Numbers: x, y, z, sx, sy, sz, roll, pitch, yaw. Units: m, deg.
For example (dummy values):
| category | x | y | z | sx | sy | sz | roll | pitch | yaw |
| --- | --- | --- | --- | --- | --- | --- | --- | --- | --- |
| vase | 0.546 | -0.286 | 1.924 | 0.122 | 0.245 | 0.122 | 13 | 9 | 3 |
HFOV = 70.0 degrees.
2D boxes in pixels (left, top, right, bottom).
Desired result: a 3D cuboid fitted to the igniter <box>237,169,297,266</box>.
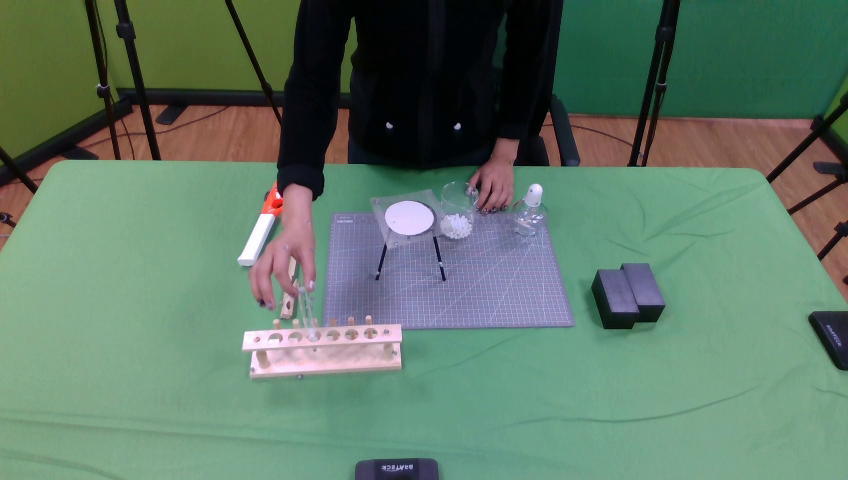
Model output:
| category | x | y | z | sx | sy | sz | roll | pitch | yaw |
| --- | --- | --- | --- | --- | --- | --- | --- | --- | --- |
| igniter | -0.313 | -0.054 | 1.224 | 0.057 | 0.025 | 0.275 | 1 | 45 | 10 |

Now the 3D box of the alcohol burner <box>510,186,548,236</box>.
| category | x | y | z | sx | sy | sz | roll | pitch | yaw |
| --- | --- | --- | --- | --- | --- | --- | --- | --- | --- |
| alcohol burner | 0.214 | -0.066 | 1.213 | 0.078 | 0.119 | 0.077 | 2 | 48 | -3 |

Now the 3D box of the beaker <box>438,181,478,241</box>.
| category | x | y | z | sx | sy | sz | roll | pitch | yaw |
| --- | --- | --- | --- | --- | --- | --- | --- | --- | --- |
| beaker | 0.066 | -0.053 | 1.200 | 0.074 | 0.101 | 0.083 | -17 | 50 | -19 |

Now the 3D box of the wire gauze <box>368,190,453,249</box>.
| category | x | y | z | sx | sy | sz | roll | pitch | yaw |
| --- | --- | --- | --- | --- | --- | --- | --- | --- | --- |
| wire gauze | -0.025 | -0.042 | 1.064 | 0.121 | 0.011 | 0.124 | -11 | 48 | -17 |

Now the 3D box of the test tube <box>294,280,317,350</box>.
| category | x | y | z | sx | sy | sz | roll | pitch | yaw |
| --- | --- | --- | --- | --- | --- | --- | --- | --- | --- |
| test tube | -0.176 | 0.116 | 0.911 | 0.017 | 0.151 | 0.017 | 0 | 43 | 1 |

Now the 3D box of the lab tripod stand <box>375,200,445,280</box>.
| category | x | y | z | sx | sy | sz | roll | pitch | yaw |
| --- | --- | --- | --- | --- | --- | --- | --- | --- | --- |
| lab tripod stand | -0.023 | 0.004 | 1.113 | 0.148 | 0.132 | 0.147 | 3 | 45 | -3 |

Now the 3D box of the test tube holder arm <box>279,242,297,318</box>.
| category | x | y | z | sx | sy | sz | roll | pitch | yaw |
| --- | --- | --- | --- | --- | --- | --- | --- | --- | --- |
| test tube holder arm | -0.249 | 0.069 | 1.113 | 0.013 | 0.015 | 0.177 | 25 | 38 | -28 |

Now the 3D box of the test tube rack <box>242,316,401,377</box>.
| category | x | y | z | sx | sy | sz | roll | pitch | yaw |
| --- | --- | --- | --- | --- | --- | --- | --- | --- | --- |
| test tube rack | -0.160 | 0.166 | 0.982 | 0.242 | 0.085 | 0.066 | -2 | 46 | -6 |

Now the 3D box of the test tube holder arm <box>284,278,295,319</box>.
| category | x | y | z | sx | sy | sz | roll | pitch | yaw |
| --- | --- | --- | --- | --- | --- | --- | --- | --- | --- |
| test tube holder arm | -0.242 | 0.103 | 1.084 | 0.010 | 0.015 | 0.087 | 26 | 38 | -27 |

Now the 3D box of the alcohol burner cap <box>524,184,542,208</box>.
| category | x | y | z | sx | sy | sz | roll | pitch | yaw |
| --- | --- | --- | --- | --- | --- | --- | --- | --- | --- |
| alcohol burner cap | 0.216 | -0.089 | 1.186 | 0.034 | 0.048 | 0.033 | 1 | 55 | -1 |

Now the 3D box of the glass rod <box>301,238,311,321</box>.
| category | x | y | z | sx | sy | sz | roll | pitch | yaw |
| --- | --- | --- | --- | --- | --- | --- | --- | --- | --- |
| glass rod | -0.218 | 0.069 | 1.124 | 0.008 | 0.008 | 0.198 | -1 | 47 | -5 |
